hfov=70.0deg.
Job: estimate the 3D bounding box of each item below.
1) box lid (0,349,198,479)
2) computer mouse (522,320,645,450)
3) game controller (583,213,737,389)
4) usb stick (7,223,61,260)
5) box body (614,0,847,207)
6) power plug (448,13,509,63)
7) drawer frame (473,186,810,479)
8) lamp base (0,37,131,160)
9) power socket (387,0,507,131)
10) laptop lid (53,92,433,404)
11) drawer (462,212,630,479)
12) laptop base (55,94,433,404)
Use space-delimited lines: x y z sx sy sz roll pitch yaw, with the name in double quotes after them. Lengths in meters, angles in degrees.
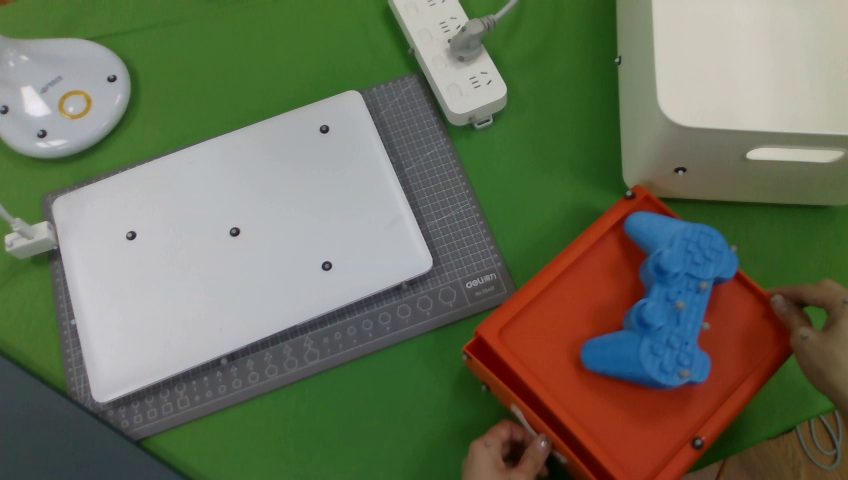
-0.371 0.278 0.546 0.370 0.015 0.262 27 73 12 "box lid"
0.146 0.130 0.558 0.063 0.041 0.116 -34 68 -8 "computer mouse"
0.203 0.051 0.514 0.097 0.052 0.154 22 72 8 "game controller"
-0.401 0.000 0.636 0.059 0.027 0.021 -18 64 -7 "usb stick"
0.336 -0.223 0.624 0.254 0.161 0.361 3 69 4 "box body"
0.063 -0.219 0.682 0.072 0.053 0.035 -12 67 -3 "power plug"
0.187 0.093 0.553 0.213 0.083 0.200 -40 72 -12 "drawer frame"
-0.440 -0.199 0.643 0.178 0.181 0.160 27 72 15 "lamp base"
0.024 -0.227 0.711 0.072 0.033 0.225 -22 69 -8 "power socket"
-0.193 -0.005 0.630 0.357 0.013 0.240 -20 72 -5 "laptop lid"
0.174 0.108 0.549 0.211 0.074 0.193 -41 71 -13 "drawer"
-0.193 -0.003 0.641 0.354 0.023 0.234 -22 73 -6 "laptop base"
